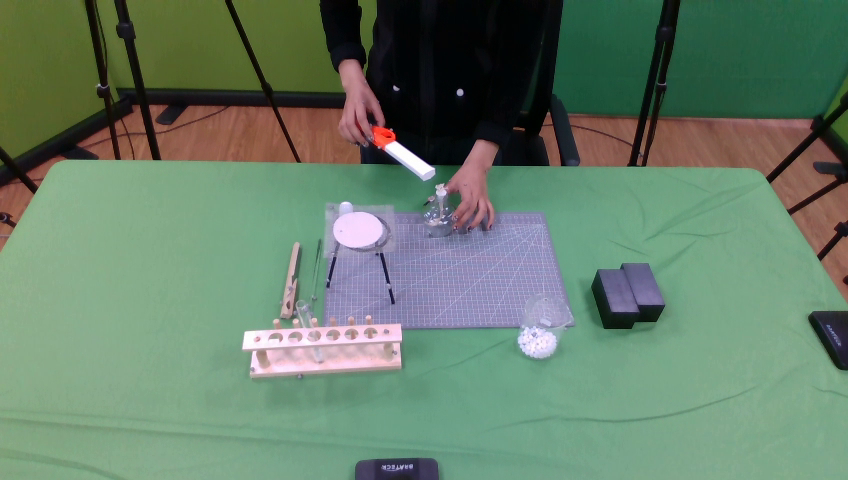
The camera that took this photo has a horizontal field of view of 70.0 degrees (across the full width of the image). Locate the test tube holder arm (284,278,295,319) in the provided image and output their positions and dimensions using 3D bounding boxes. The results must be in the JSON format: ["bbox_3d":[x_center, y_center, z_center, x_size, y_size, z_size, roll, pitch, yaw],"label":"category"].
[{"bbox_3d":[-0.241,0.103,1.085,0.010,0.015,0.087,26,38,-27],"label":"test tube holder arm"}]

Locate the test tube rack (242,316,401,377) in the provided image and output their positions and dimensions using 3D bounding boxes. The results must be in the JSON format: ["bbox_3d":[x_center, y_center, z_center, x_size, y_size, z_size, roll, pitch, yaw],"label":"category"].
[{"bbox_3d":[-0.161,0.166,0.983,0.242,0.085,0.066,-2,46,-6],"label":"test tube rack"}]

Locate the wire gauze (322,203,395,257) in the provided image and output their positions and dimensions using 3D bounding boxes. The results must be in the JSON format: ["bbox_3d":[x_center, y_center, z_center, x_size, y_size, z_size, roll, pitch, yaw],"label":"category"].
[{"bbox_3d":[-0.111,-0.020,1.035,0.121,0.011,0.124,0,47,-7],"label":"wire gauze"}]

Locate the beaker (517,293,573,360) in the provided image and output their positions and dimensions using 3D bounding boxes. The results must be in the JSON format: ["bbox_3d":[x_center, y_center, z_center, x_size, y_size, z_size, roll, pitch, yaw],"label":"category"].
[{"bbox_3d":[0.200,0.149,1.018,0.084,0.101,0.073,14,47,8],"label":"beaker"}]

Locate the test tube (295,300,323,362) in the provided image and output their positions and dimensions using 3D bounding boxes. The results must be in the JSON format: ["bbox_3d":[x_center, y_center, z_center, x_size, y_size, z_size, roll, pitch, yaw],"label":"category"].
[{"bbox_3d":[-0.176,0.143,0.935,0.017,0.151,0.017,-2,46,2],"label":"test tube"}]

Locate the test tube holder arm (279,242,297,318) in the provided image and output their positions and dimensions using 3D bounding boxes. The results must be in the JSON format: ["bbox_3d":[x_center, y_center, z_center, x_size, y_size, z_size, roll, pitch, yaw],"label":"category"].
[{"bbox_3d":[-0.249,0.069,1.114,0.013,0.015,0.177,25,38,-28],"label":"test tube holder arm"}]

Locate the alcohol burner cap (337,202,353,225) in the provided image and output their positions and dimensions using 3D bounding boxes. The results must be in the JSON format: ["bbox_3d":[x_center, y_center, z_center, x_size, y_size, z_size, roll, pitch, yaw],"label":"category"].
[{"bbox_3d":[-0.161,-0.056,1.223,0.034,0.048,0.033,2,46,-1],"label":"alcohol burner cap"}]

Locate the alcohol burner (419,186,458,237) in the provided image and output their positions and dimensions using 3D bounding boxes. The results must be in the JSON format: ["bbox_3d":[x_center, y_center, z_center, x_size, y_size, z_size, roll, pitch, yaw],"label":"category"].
[{"bbox_3d":[0.030,-0.063,1.196,0.078,0.119,0.077,3,48,-3],"label":"alcohol burner"}]

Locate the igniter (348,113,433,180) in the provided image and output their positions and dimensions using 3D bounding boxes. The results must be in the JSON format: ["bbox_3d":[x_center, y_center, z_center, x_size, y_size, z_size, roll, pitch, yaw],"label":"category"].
[{"bbox_3d":[-0.076,-0.195,1.226,0.057,0.025,0.275,-28,48,-25],"label":"igniter"}]

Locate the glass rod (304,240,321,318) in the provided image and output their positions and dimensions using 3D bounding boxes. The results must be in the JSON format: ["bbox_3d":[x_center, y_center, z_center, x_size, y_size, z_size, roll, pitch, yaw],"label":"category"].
[{"bbox_3d":[-0.207,0.068,1.128,0.008,0.008,0.198,2,43,-2],"label":"glass rod"}]

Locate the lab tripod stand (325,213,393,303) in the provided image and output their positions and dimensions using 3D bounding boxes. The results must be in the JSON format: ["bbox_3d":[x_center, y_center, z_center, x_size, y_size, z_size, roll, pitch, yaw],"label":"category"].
[{"bbox_3d":[-0.104,0.031,1.080,0.148,0.132,0.147,4,45,-4],"label":"lab tripod stand"}]
